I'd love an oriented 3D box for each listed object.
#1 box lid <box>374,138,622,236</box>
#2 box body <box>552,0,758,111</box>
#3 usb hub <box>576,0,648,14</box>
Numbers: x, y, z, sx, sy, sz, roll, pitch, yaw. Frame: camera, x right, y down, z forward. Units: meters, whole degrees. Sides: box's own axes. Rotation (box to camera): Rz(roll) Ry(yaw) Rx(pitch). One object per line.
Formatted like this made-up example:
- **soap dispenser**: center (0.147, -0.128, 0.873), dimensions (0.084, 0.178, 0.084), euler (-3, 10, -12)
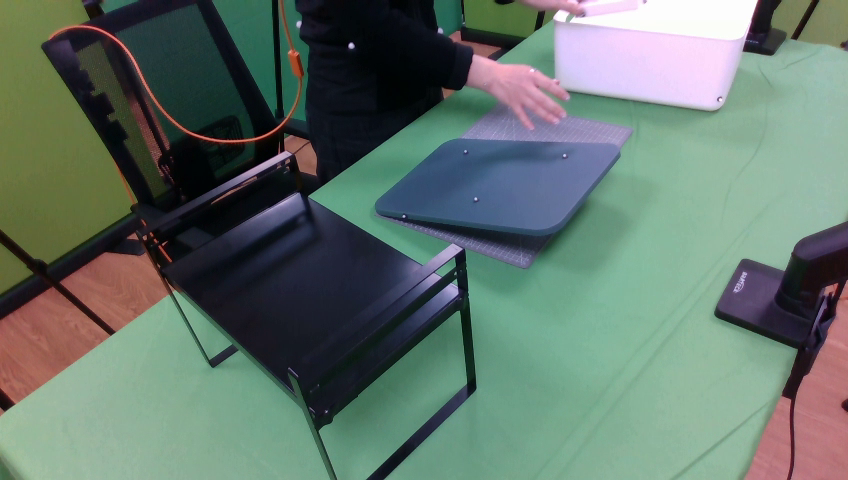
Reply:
- **box lid**: center (0.115, -0.103, 1.024), dimensions (0.368, 0.015, 0.264), euler (10, 41, 38)
- **box body**: center (0.480, -0.417, 1.282), dimensions (0.362, 0.161, 0.254), euler (16, 46, 25)
- **usb hub**: center (0.357, -0.452, 1.151), dimensions (0.124, 0.025, 0.049), euler (6, 33, 33)
